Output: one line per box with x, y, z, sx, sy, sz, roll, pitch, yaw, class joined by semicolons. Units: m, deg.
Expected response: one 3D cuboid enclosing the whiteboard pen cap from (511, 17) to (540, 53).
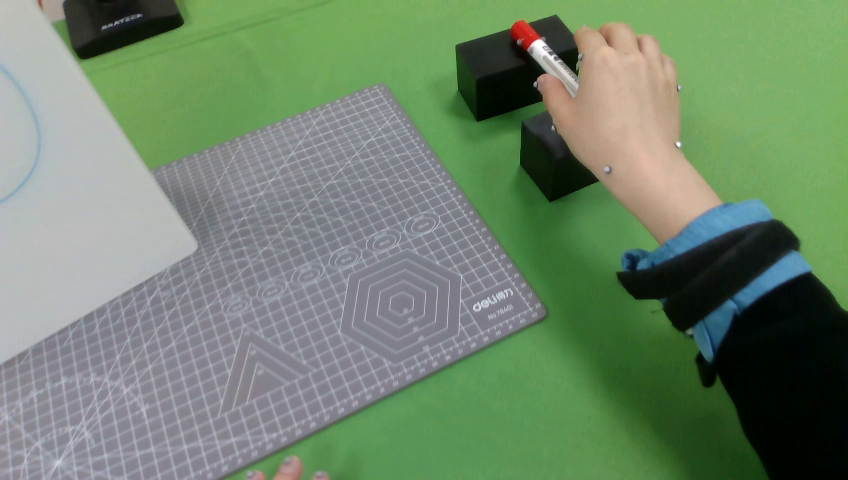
0.090;-0.178;0.526;0.017;0.017;0.032;-22;57;-9;whiteboard pen cap

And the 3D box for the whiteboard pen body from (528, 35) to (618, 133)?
0.113;-0.136;0.494;0.017;0.017;0.139;-22;57;-10;whiteboard pen body

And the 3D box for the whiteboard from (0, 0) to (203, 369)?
-0.341;-0.079;0.418;0.217;0.308;0.142;-33;38;-16;whiteboard
